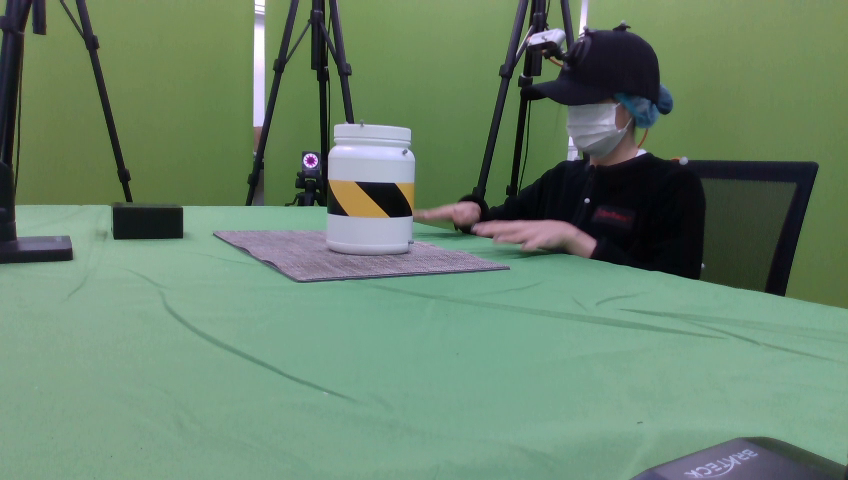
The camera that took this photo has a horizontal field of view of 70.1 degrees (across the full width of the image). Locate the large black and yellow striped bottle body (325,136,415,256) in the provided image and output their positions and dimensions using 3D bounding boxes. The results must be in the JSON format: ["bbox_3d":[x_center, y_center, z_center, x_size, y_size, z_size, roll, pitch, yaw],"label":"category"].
[{"bbox_3d":[-0.080,-0.074,0.905,0.131,0.184,0.130,3,7,0],"label":"large black and yellow striped bottle body"}]

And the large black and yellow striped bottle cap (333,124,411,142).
[{"bbox_3d":[-0.077,-0.157,0.896,0.115,0.019,0.115,5,7,0],"label":"large black and yellow striped bottle cap"}]
